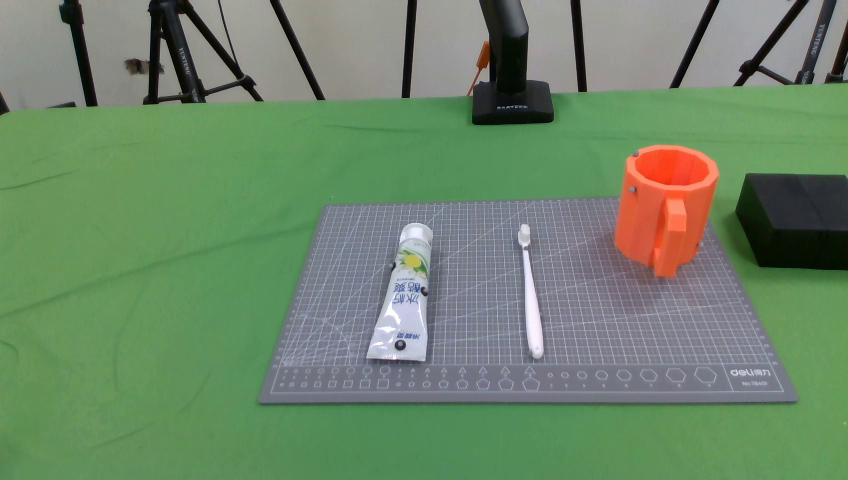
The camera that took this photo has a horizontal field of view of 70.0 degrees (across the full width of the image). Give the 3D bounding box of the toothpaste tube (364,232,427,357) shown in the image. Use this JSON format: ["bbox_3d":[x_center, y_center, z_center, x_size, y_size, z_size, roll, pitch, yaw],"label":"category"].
[{"bbox_3d":[-0.022,0.049,0.602,0.055,0.035,0.163,-3,41,8],"label":"toothpaste tube"}]

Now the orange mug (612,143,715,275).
[{"bbox_3d":[0.240,-0.027,0.612,0.083,0.101,0.125,4,35,11],"label":"orange mug"}]

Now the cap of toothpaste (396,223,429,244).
[{"bbox_3d":[-0.013,-0.003,0.659,0.037,0.038,0.011,1,42,7],"label":"cap of toothpaste"}]

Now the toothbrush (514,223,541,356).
[{"bbox_3d":[0.103,0.043,0.604,0.014,0.017,0.180,9,40,-4],"label":"toothbrush"}]
